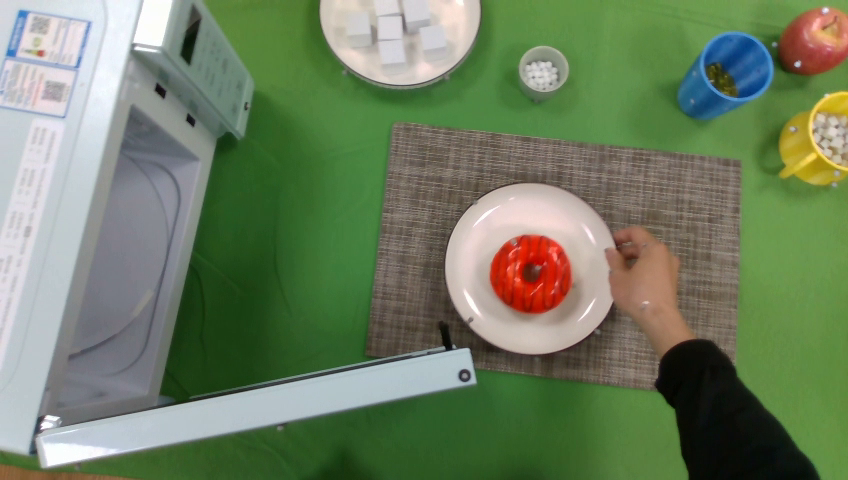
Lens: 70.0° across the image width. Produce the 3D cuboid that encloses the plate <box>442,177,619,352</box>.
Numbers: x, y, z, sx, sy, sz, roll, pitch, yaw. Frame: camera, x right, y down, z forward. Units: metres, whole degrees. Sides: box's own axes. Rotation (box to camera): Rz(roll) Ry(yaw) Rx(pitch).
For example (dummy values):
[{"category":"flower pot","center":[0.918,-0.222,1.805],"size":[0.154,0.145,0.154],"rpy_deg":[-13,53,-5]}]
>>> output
[{"category":"plate","center":[0.125,0.029,0.728],"size":[0.209,0.038,0.208],"rpy_deg":[0,85,2]}]

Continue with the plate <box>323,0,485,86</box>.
[{"category":"plate","center":[-0.025,-0.296,0.789],"size":[0.208,0.039,0.207],"rpy_deg":[0,81,0]}]

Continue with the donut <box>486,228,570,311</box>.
[{"category":"donut","center":[0.123,0.035,0.716],"size":[0.099,0.048,0.099],"rpy_deg":[0,88,4]}]

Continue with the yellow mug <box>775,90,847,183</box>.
[{"category":"yellow mug","center":[0.495,-0.119,0.753],"size":[0.131,0.064,0.099],"rpy_deg":[-35,83,-4]}]

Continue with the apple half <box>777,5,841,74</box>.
[{"category":"apple half","center":[0.483,-0.256,0.771],"size":[0.053,0.075,0.080],"rpy_deg":[12,84,5]}]

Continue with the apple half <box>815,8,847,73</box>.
[{"category":"apple half","center":[0.521,-0.248,0.768],"size":[0.033,0.081,0.081],"rpy_deg":[13,81,5]}]

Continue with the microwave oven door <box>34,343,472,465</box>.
[{"category":"microwave oven door","center":[-0.135,0.152,0.599],"size":[0.356,0.244,0.039],"rpy_deg":[-11,80,-2]}]

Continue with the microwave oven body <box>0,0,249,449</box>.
[{"category":"microwave oven body","center":[-0.408,-0.049,0.631],"size":[0.326,0.261,0.440],"rpy_deg":[10,82,1]}]

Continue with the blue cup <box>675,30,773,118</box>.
[{"category":"blue cup","center":[0.359,-0.195,0.746],"size":[0.093,0.100,0.092],"rpy_deg":[0,83,-1]}]

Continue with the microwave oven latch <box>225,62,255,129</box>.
[{"category":"microwave oven latch","center":[-0.231,-0.180,0.750],"size":[0.030,0.029,0.079],"rpy_deg":[11,82,1]}]

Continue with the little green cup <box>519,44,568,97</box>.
[{"category":"little green cup","center":[0.151,-0.215,0.779],"size":[0.061,0.039,0.061],"rpy_deg":[0,81,0]}]
